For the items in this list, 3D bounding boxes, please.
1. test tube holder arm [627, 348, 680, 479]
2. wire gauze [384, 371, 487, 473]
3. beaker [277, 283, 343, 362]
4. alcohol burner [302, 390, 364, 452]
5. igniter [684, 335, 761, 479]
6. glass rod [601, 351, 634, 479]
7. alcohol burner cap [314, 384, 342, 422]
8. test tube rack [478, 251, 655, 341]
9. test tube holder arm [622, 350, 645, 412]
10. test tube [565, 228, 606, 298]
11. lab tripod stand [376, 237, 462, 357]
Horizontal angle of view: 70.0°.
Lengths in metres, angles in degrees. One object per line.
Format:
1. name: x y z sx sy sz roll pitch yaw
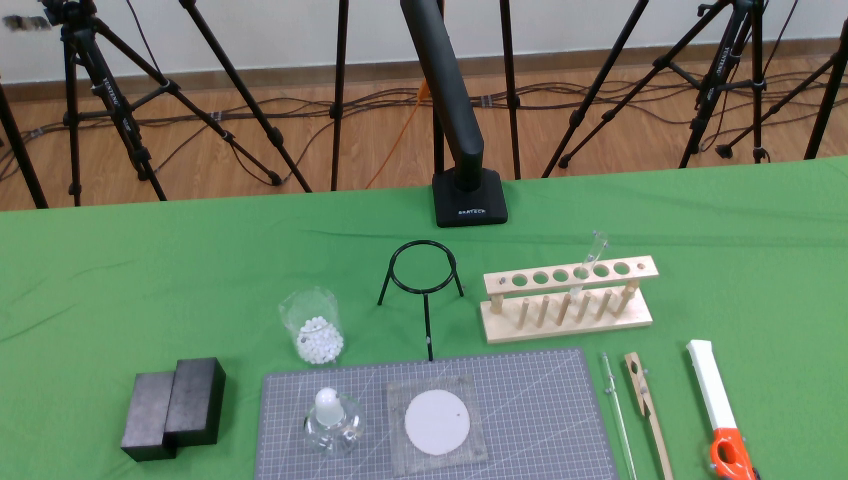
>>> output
1. test tube holder arm: 0.299 0.223 0.796 0.013 0.015 0.176 -31 46 25
2. wire gauze: 0.012 0.234 0.797 0.121 0.011 0.124 -6 56 -5
3. beaker: -0.155 0.117 0.836 0.084 0.101 0.073 10 52 9
4. alcohol burner: -0.115 0.214 0.746 0.078 0.120 0.077 -1 51 2
5. igniter: 0.384 0.247 0.776 0.057 0.025 0.274 6 52 -7
6. glass rod: 0.255 0.238 0.796 0.008 0.008 0.197 -2 55 -1
7. alcohol burner cap: -0.115 0.190 0.719 0.034 0.048 0.033 1 43 -1
8. test tube rack: 0.205 0.081 0.869 0.242 0.086 0.066 -6 52 -4
9. test tube holder arm: 0.289 0.191 0.827 0.010 0.015 0.087 -30 47 26
10. test tube: 0.221 0.036 0.841 0.017 0.151 0.017 3 51 -4
11. lab tripod stand: -0.007 0.070 0.848 0.148 0.133 0.147 -1 51 2
